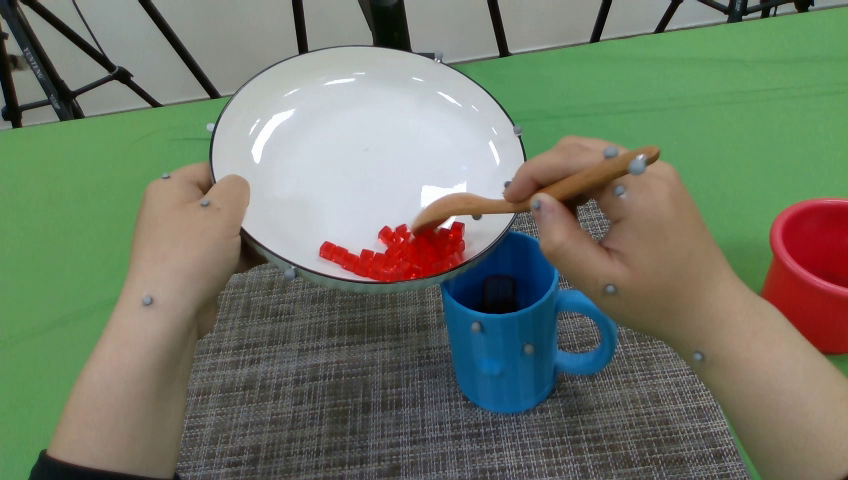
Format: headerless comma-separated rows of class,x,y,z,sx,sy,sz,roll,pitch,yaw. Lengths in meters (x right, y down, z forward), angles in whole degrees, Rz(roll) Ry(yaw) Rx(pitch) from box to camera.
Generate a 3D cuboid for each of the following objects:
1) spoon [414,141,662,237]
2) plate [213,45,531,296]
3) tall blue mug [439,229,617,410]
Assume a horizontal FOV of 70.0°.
spoon,0.047,-0.022,0.316,0.042,0.022,0.193,-24,7,-29
plate,-0.032,-0.050,0.412,0.208,0.039,0.205,4,56,-6
tall blue mug,0.069,0.053,0.418,0.107,0.109,0.077,-12,43,-2
